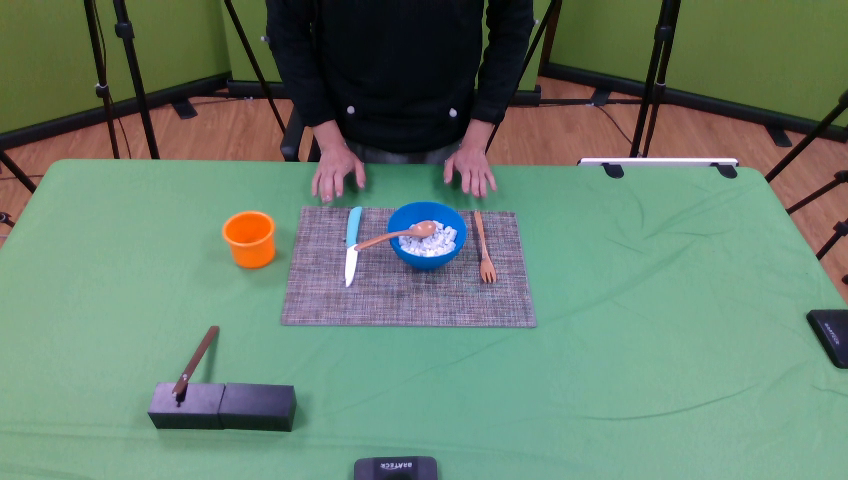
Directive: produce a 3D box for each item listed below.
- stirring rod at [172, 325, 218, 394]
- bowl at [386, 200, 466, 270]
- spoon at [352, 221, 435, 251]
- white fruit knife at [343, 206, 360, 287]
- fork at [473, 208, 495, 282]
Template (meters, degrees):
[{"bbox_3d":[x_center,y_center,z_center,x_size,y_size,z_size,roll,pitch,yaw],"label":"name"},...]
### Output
[{"bbox_3d":[-0.361,0.185,0.962,0.014,0.006,0.175,0,26,1],"label":"stirring rod"},{"bbox_3d":[0.002,0.003,1.150,0.151,0.077,0.150,2,46,-2],"label":"bowl"},{"bbox_3d":[-0.054,-0.008,1.109,0.194,0.022,0.041,-14,40,-42],"label":"spoon"},{"bbox_3d":[-0.143,0.010,1.175,0.027,0.016,0.206,-5,47,5],"label":"white fruit knife"},{"bbox_3d":[0.115,0.007,1.196,0.028,0.019,0.206,-8,48,3],"label":"fork"}]
